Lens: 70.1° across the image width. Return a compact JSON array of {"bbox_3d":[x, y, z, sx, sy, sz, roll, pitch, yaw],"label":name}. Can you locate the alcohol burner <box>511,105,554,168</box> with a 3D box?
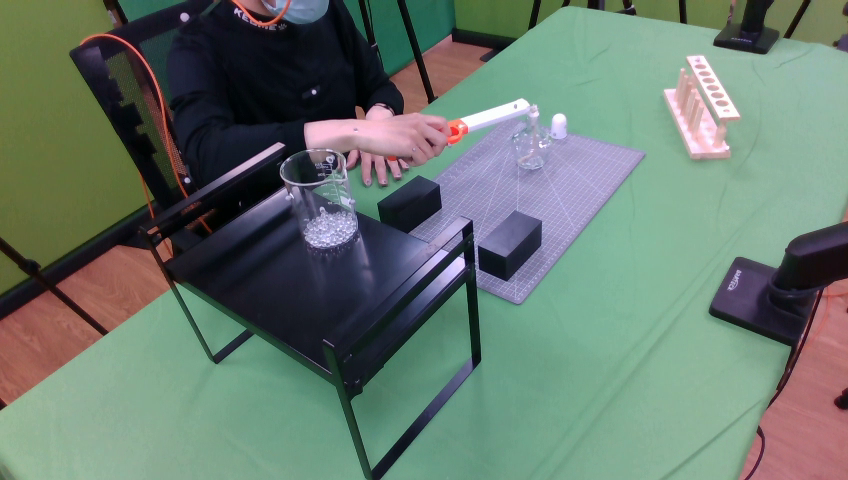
[{"bbox_3d":[0.196,-0.190,1.088,0.078,0.119,0.077,-3,42,3],"label":"alcohol burner"}]

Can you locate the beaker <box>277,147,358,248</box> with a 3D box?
[{"bbox_3d":[-0.117,-0.046,0.705,0.083,0.101,0.074,17,47,25],"label":"beaker"}]

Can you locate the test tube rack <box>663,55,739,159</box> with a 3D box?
[{"bbox_3d":[0.518,-0.256,1.144,0.066,0.085,0.241,-1,41,8],"label":"test tube rack"}]

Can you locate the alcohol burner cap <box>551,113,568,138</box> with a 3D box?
[{"bbox_3d":[0.263,-0.223,1.172,0.034,0.048,0.033,-5,39,4],"label":"alcohol burner cap"}]

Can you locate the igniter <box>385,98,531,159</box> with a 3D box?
[{"bbox_3d":[0.057,-0.184,0.989,0.278,0.025,0.057,-22,48,-22],"label":"igniter"}]
